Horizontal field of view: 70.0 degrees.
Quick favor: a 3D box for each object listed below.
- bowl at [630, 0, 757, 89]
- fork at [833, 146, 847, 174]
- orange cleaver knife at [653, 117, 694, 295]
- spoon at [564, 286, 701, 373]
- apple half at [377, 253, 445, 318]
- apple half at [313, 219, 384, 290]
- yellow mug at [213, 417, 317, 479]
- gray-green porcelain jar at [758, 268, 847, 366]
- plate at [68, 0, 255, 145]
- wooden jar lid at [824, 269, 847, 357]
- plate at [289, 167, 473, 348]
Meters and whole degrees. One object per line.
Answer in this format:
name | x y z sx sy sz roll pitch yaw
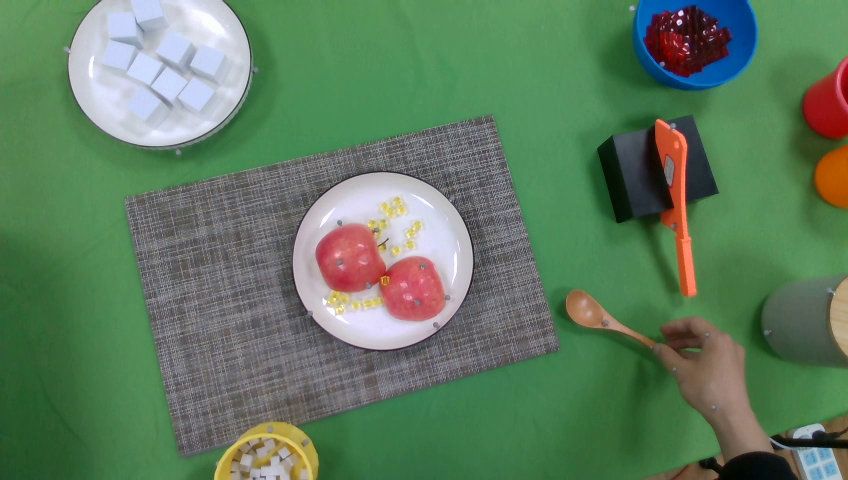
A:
bowl | 0.318 -0.250 0.750 0.151 0.077 0.151 1 83 -4
fork | 0.539 -0.051 0.705 0.028 0.019 0.205 2 39 -4
orange cleaver knife | 0.294 -0.039 0.718 0.012 0.076 0.212 -13 107 -2
spoon | 0.250 0.112 0.724 0.194 0.022 0.041 29 65 0
apple half | -0.015 0.053 0.693 0.081 0.033 0.081 1 80 -3
apple half | -0.087 0.015 0.683 0.075 0.053 0.080 -16 85 -4
yellow mug | -0.167 0.262 0.648 0.100 0.064 0.130 -2 86 -6
gray-green porcelain jar | 0.460 0.089 0.692 0.106 0.126 0.105 1 82 -4
plate | -0.303 -0.210 0.714 0.208 0.039 0.207 1 82 -4
wooden jar lid | 0.465 0.079 0.629 0.108 0.021 0.108 0 82 -2
plate | -0.049 0.020 0.701 0.209 0.038 0.208 1 83 -5
